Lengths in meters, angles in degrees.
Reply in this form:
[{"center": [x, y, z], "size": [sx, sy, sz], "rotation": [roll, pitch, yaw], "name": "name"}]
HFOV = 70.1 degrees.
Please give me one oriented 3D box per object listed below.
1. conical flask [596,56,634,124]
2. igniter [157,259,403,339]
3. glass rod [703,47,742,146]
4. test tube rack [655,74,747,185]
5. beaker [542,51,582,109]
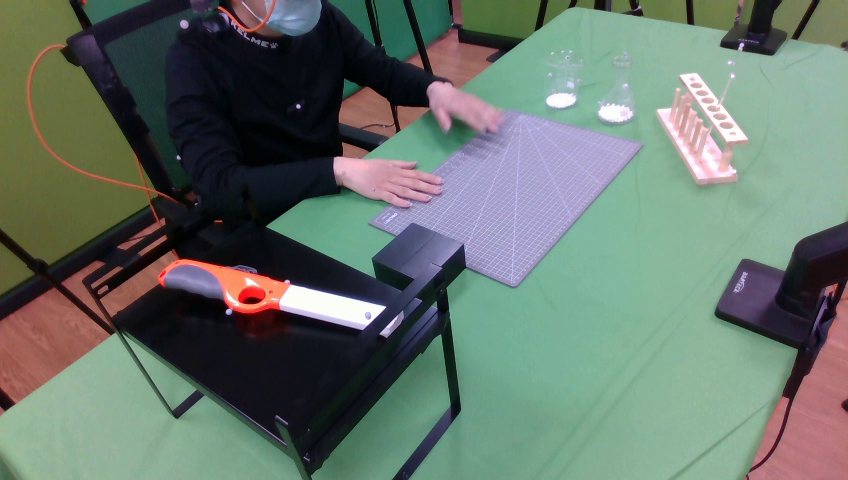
[{"center": [0.380, -0.294, 1.185], "size": [0.075, 0.122, 0.075], "rotation": [-4, 41, 4], "name": "conical flask"}, {"center": [-0.157, 0.059, 0.638], "size": [0.275, 0.025, 0.057], "rotation": [11, 43, 14], "name": "igniter"}, {"center": [0.502, -0.237, 1.027], "size": [0.008, 0.200, 0.008], "rotation": [-2, 49, 2], "name": "glass rod"}, {"center": [0.491, -0.205, 1.092], "size": [0.067, 0.085, 0.241], "rotation": [-5, 40, 3], "name": "test tube rack"}, {"center": [0.287, -0.330, 1.258], "size": [0.083, 0.101, 0.074], "rotation": [21, 49, 28], "name": "beaker"}]
